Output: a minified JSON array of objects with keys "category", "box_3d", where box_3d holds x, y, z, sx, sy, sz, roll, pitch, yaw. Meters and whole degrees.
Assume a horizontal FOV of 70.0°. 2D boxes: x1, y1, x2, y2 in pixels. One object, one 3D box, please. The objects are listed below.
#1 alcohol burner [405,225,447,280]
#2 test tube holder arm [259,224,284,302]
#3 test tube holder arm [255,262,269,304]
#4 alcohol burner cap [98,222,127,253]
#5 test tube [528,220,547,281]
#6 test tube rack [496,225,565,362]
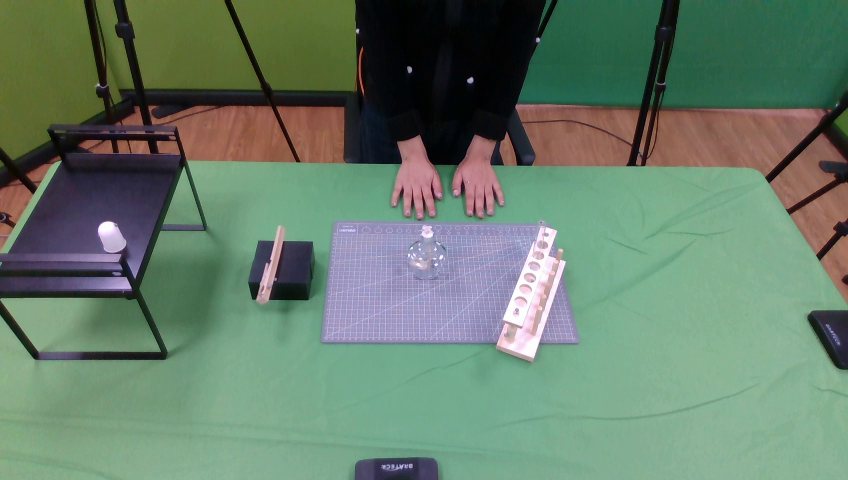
[{"category":"alcohol burner","box_3d":[0.004,0.017,1.115,0.078,0.120,0.077,1,47,-1]},{"category":"test tube holder arm","box_3d":[-0.268,0.038,1.071,0.013,0.015,0.177,-21,41,21]},{"category":"test tube holder arm","box_3d":[-0.274,0.072,1.042,0.010,0.015,0.087,-20,42,22]},{"category":"alcohol burner cap","box_3d":[-0.468,-0.007,0.904,0.034,0.048,0.033,3,45,-3]},{"category":"test tube","box_3d":[0.200,0.022,1.076,0.017,0.151,0.017,0,47,1]},{"category":"test tube rack","box_3d":[0.200,0.089,1.081,0.066,0.085,0.241,19,48,13]}]
